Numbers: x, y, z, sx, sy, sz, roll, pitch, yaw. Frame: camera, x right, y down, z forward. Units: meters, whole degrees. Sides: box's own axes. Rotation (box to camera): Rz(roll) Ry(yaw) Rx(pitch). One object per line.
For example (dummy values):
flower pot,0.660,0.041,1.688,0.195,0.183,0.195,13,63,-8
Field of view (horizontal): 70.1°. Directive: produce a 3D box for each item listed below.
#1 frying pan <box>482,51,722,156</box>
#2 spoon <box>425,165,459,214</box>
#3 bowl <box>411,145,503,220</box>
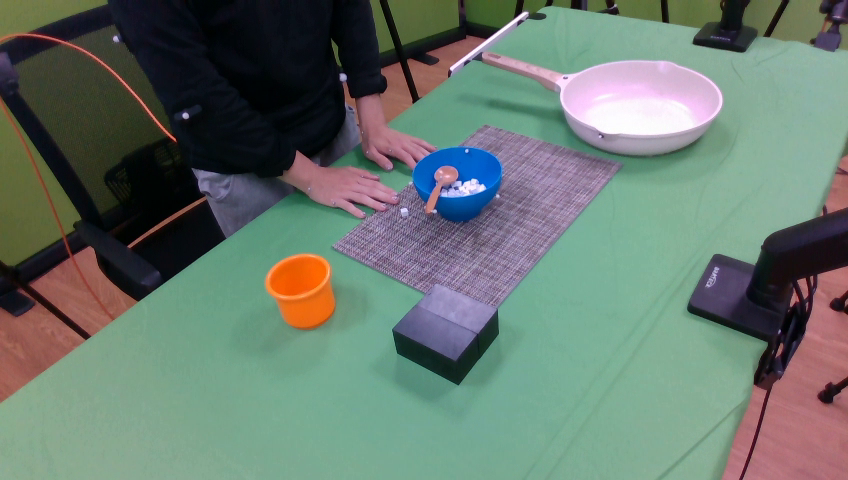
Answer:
frying pan,0.326,-0.298,1.204,0.484,0.103,0.307,28,51,23
spoon,0.023,-0.083,0.963,0.041,0.021,0.193,8,24,10
bowl,0.057,-0.086,1.010,0.151,0.077,0.150,-4,41,4
